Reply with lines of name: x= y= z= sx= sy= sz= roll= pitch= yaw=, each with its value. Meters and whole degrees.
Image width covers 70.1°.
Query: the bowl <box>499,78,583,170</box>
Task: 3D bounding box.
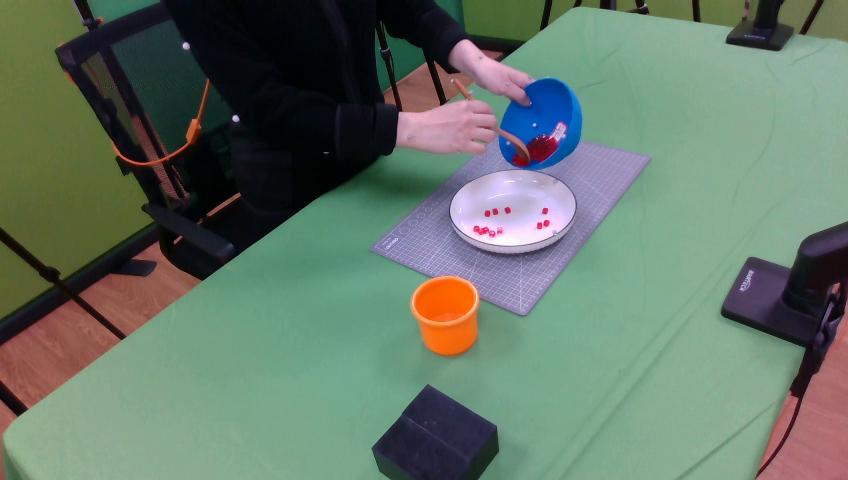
bowl: x=0.204 y=-0.178 z=0.986 sx=0.077 sy=0.151 sz=0.150 roll=16 pitch=23 yaw=-39

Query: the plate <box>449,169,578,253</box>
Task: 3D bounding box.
plate: x=0.146 y=-0.044 z=0.993 sx=0.209 sy=0.038 sz=0.208 roll=-5 pitch=40 yaw=5

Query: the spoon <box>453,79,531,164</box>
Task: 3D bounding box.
spoon: x=0.108 y=-0.180 z=0.934 sx=0.021 sy=0.195 sz=0.041 roll=-50 pitch=32 yaw=9
